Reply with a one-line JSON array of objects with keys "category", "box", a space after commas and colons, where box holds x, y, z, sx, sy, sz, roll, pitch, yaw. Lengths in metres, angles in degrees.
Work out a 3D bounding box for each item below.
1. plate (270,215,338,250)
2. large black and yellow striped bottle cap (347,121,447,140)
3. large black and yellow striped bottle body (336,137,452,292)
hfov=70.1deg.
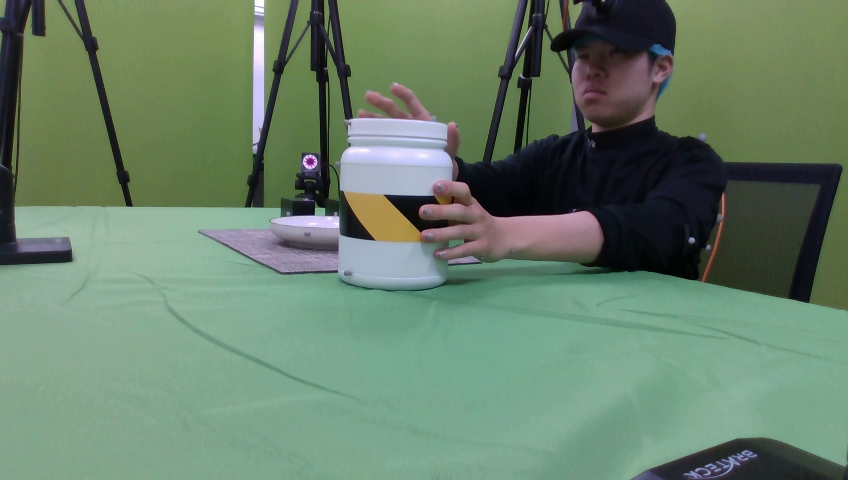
[{"category": "plate", "box": [-0.145, -0.013, 0.991, 0.208, 0.039, 0.207, 2, 7, 0]}, {"category": "large black and yellow striped bottle cap", "box": [-0.031, -0.124, 0.691, 0.115, 0.019, 0.115, 1, 7, 0]}, {"category": "large black and yellow striped bottle body", "box": [-0.035, -0.041, 0.703, 0.131, 0.184, 0.130, 3, 7, 0]}]
